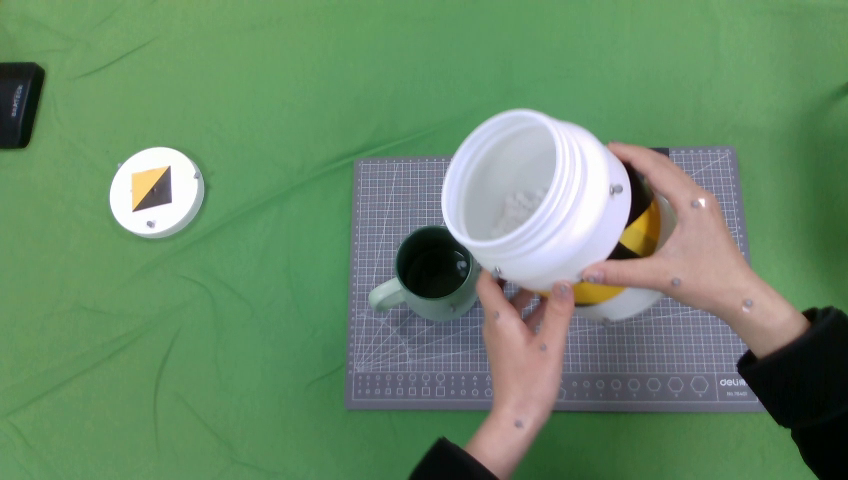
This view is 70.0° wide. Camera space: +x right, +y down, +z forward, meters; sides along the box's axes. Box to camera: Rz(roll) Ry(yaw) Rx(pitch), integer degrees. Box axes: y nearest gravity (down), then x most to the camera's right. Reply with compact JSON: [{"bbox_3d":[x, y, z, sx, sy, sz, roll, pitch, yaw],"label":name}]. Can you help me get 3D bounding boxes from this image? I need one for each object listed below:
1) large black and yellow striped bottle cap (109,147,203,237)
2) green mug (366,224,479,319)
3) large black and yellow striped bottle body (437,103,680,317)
[{"bbox_3d":[-0.333,-0.060,0.752,0.115,0.019,0.114,-1,74,5],"label":"large black and yellow striped bottle cap"},{"bbox_3d":[-0.003,0.042,0.646,0.125,0.105,0.092,-26,75,-1],"label":"green mug"},{"bbox_3d":[0.110,-0.020,0.491,0.130,0.186,0.129,-21,58,37],"label":"large black and yellow striped bottle body"}]
